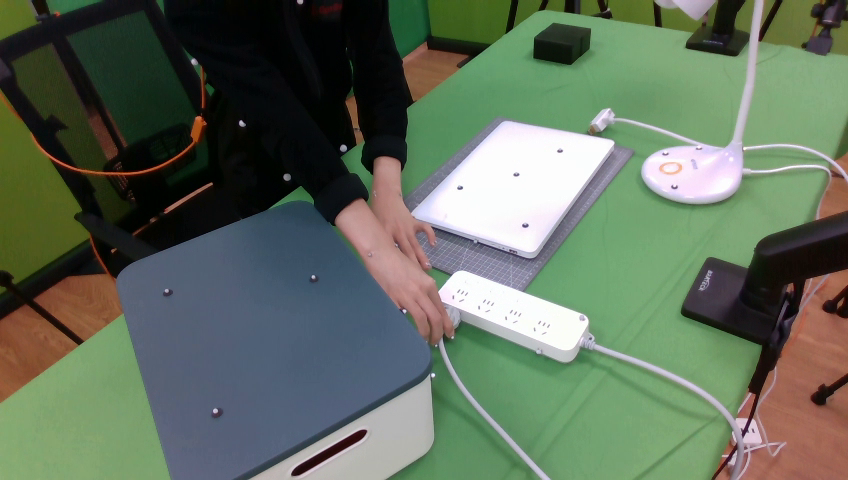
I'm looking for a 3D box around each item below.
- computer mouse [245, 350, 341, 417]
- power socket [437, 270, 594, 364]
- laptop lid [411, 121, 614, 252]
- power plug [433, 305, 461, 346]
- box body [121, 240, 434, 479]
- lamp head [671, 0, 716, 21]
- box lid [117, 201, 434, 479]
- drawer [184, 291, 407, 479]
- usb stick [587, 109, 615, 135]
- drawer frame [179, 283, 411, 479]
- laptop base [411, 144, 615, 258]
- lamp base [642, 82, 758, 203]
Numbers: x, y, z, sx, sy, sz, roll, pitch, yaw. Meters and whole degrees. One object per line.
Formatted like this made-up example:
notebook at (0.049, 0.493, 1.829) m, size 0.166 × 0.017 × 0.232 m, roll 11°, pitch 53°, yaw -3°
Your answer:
computer mouse at (-0.164, 0.173, 0.754) m, size 0.118 × 0.041 × 0.062 m, roll -18°, pitch 33°, yaw -18°
power socket at (0.118, 0.102, 0.830) m, size 0.225 × 0.033 × 0.072 m, roll 20°, pitch 49°, yaw 28°
laptop lid at (0.164, -0.112, 1.068) m, size 0.240 × 0.013 × 0.357 m, roll 19°, pitch 46°, yaw 31°
power plug at (0.023, 0.119, 0.814) m, size 0.035 × 0.053 × 0.072 m, roll 16°, pitch 54°, yaw 28°
box body at (-0.175, 0.142, 0.724) m, size 0.255 × 0.161 × 0.360 m, roll -25°, pitch 43°, yaw -20°
lamp head at (0.375, -0.373, 0.807) m, size 0.122 × 0.113 × 0.112 m, roll -40°, pitch 27°, yaw 32°
box lid at (-0.182, 0.087, 0.675) m, size 0.264 × 0.015 × 0.368 m, roll -25°, pitch 42°, yaw -20°
drawer at (-0.155, 0.180, 0.720) m, size 0.195 × 0.073 × 0.210 m, roll -27°, pitch 40°, yaw -21°
usb stick at (0.344, -0.229, 1.184) m, size 0.059 × 0.021 × 0.027 m, roll -47°, pitch 21°, yaw -8°
drawer frame at (-0.155, 0.179, 0.727) m, size 0.202 × 0.083 × 0.211 m, roll -28°, pitch 49°, yaw -20°
laptop base at (0.167, -0.102, 1.074) m, size 0.234 × 0.023 × 0.355 m, roll 17°, pitch 45°, yaw 30°
lamp base at (0.464, -0.174, 0.992) m, size 0.179 × 0.181 × 0.159 m, roll -5°, pitch 41°, yaw -1°
